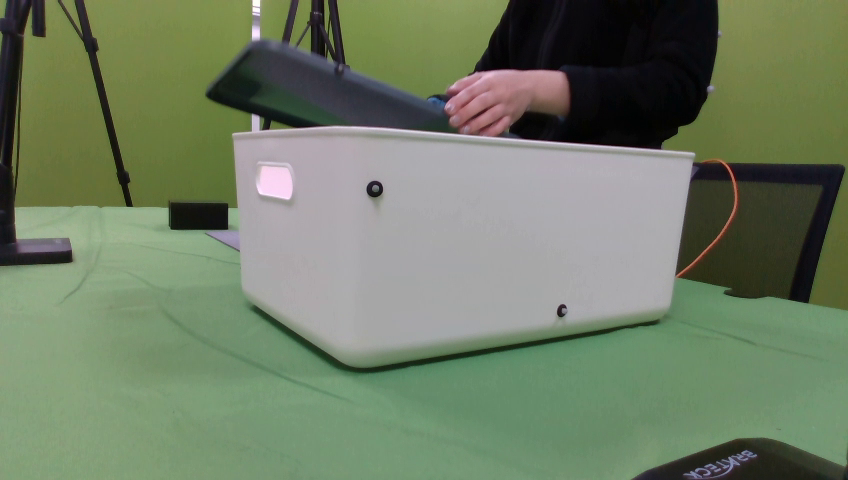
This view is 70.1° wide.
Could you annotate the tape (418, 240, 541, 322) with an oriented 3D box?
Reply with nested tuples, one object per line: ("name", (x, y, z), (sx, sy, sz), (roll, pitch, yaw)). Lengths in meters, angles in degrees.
("tape", (0.052, 0.035, 0.571), (0.117, 0.052, 0.117), (2, 10, 0))

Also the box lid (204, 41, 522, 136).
("box lid", (-0.082, -0.159, 0.797), (0.373, 0.015, 0.262), (13, -7, -30))

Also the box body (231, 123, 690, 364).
("box body", (0.031, -0.013, 0.563), (0.366, 0.160, 0.253), (-3, 8, -33))
